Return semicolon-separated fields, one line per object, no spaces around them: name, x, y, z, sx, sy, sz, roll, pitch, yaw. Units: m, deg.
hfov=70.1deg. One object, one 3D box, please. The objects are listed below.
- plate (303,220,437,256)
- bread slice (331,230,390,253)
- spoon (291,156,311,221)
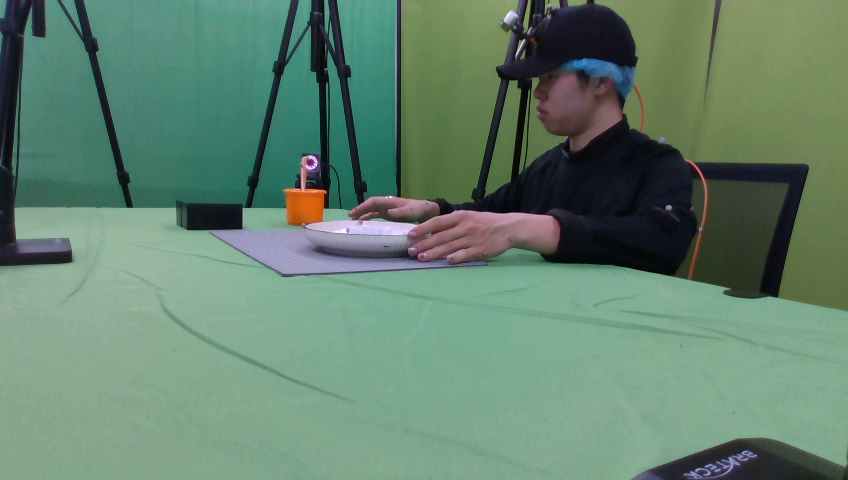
plate;-0.084;-0.003;0.951;0.209;0.038;0.209;3;7;0
bread slice;-0.088;0.000;0.947;0.105;0.019;0.131;-4;11;-44
spoon;-0.268;-0.117;1.330;0.042;0.021;0.193;2;47;-12
